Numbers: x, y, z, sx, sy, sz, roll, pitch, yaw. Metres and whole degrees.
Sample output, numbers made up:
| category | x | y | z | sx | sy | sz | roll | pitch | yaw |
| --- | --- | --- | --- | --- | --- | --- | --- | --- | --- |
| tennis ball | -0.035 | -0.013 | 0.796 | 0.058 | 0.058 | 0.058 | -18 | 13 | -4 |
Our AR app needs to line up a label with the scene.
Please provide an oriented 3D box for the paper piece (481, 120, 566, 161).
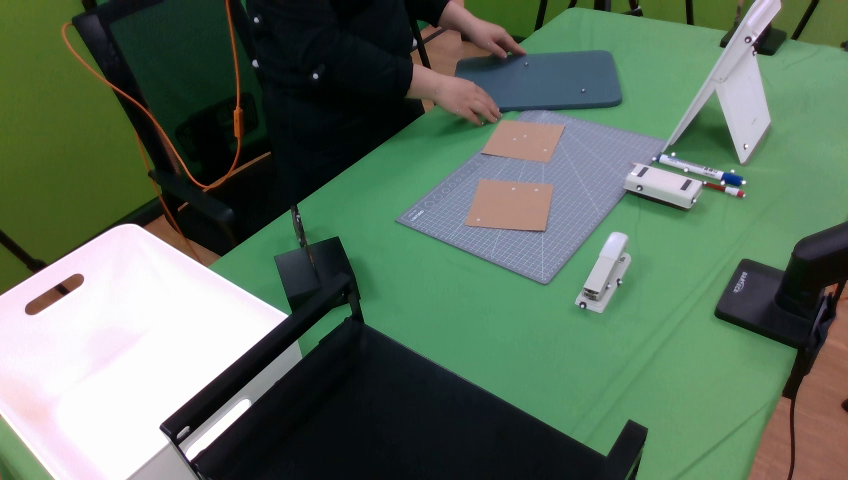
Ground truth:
| category | x | y | z | sx | sy | sz | roll | pitch | yaw |
| --- | --- | --- | --- | --- | --- | --- | --- | --- | --- |
| paper piece | 0.197 | -0.199 | 1.188 | 0.135 | 0.004 | 0.135 | 11 | 44 | 21 |

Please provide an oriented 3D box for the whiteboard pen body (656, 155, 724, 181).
| category | x | y | z | sx | sy | sz | roll | pitch | yaw |
| --- | --- | --- | --- | --- | --- | --- | --- | --- | --- |
| whiteboard pen body | 0.475 | -0.123 | 1.052 | 0.139 | 0.017 | 0.017 | 24 | 49 | 32 |

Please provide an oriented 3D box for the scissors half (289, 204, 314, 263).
| category | x | y | z | sx | sy | sz | roll | pitch | yaw |
| --- | --- | --- | --- | --- | --- | --- | --- | --- | --- |
| scissors half | -0.191 | -0.010 | 0.944 | 0.013 | 0.040 | 0.173 | -15 | 37 | -16 |

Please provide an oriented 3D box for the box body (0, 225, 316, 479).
| category | x | y | z | sx | sy | sz | roll | pitch | yaw |
| --- | --- | --- | --- | --- | --- | --- | --- | --- | --- |
| box body | -0.340 | 0.162 | 0.728 | 0.361 | 0.161 | 0.255 | 23 | 48 | 31 |

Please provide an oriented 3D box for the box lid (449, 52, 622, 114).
| category | x | y | z | sx | sy | sz | roll | pitch | yaw |
| --- | --- | --- | --- | --- | --- | --- | --- | --- | --- |
| box lid | 0.249 | -0.358 | 1.370 | 0.371 | 0.015 | 0.262 | 0 | 40 | 9 |

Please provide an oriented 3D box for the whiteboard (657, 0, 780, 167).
| category | x | y | z | sx | sy | sz | roll | pitch | yaw |
| --- | --- | --- | --- | --- | --- | --- | --- | --- | --- |
| whiteboard | 0.571 | -0.272 | 1.038 | 0.143 | 0.306 | 0.218 | 36 | 54 | 17 |

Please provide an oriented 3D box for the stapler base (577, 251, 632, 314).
| category | x | y | z | sx | sy | sz | roll | pitch | yaw |
| --- | --- | --- | --- | --- | --- | --- | --- | --- | --- |
| stapler base | 0.264 | 0.051 | 0.875 | 0.041 | 0.024 | 0.131 | 16 | 47 | 30 |

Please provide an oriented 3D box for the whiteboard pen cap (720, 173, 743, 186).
| category | x | y | z | sx | sy | sz | roll | pitch | yaw |
| --- | --- | --- | --- | --- | --- | --- | --- | --- | --- |
| whiteboard pen cap | 0.519 | -0.103 | 1.020 | 0.033 | 0.018 | 0.018 | 23 | 49 | 30 |

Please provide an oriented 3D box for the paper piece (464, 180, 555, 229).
| category | x | y | z | sx | sy | sz | roll | pitch | yaw |
| --- | --- | --- | --- | --- | --- | --- | --- | --- | --- |
| paper piece | 0.149 | -0.062 | 1.035 | 0.137 | 0.009 | 0.136 | 4 | 37 | 17 |

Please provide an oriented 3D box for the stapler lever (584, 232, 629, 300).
| category | x | y | z | sx | sy | sz | roll | pitch | yaw |
| --- | --- | --- | --- | --- | --- | --- | --- | --- | --- |
| stapler lever | 0.260 | 0.034 | 0.858 | 0.026 | 0.040 | 0.118 | 16 | 46 | 30 |

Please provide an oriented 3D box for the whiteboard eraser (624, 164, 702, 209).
| category | x | y | z | sx | sy | sz | roll | pitch | yaw |
| --- | --- | --- | --- | --- | --- | --- | --- | --- | --- |
| whiteboard eraser | 0.396 | -0.087 | 1.003 | 0.112 | 0.042 | 0.056 | 22 | 47 | 31 |

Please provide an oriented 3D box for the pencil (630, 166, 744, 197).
| category | x | y | z | sx | sy | sz | roll | pitch | yaw |
| --- | --- | --- | --- | --- | --- | --- | --- | --- | --- |
| pencil | 0.447 | -0.103 | 1.038 | 0.192 | 0.012 | 0.012 | 21 | 48 | 29 |

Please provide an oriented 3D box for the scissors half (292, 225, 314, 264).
| category | x | y | z | sx | sy | sz | roll | pitch | yaw |
| --- | --- | --- | --- | --- | --- | --- | --- | --- | --- |
| scissors half | -0.188 | 0.007 | 0.954 | 0.013 | 0.040 | 0.174 | -20 | 21 | -13 |
